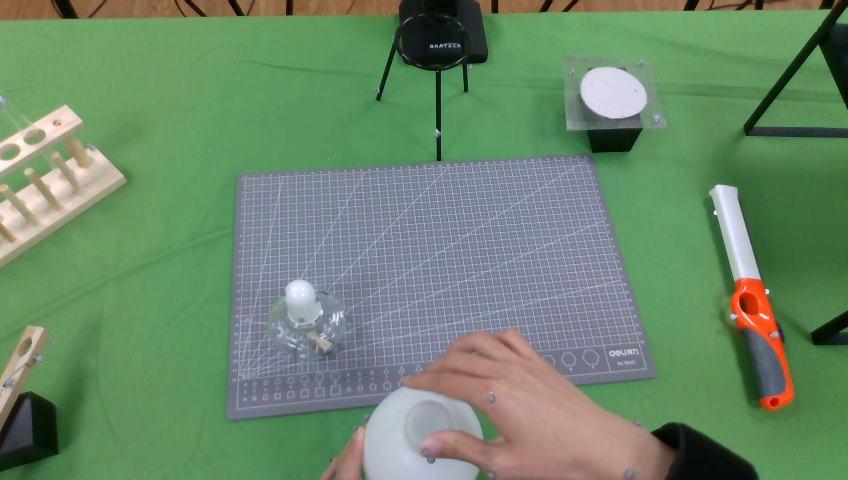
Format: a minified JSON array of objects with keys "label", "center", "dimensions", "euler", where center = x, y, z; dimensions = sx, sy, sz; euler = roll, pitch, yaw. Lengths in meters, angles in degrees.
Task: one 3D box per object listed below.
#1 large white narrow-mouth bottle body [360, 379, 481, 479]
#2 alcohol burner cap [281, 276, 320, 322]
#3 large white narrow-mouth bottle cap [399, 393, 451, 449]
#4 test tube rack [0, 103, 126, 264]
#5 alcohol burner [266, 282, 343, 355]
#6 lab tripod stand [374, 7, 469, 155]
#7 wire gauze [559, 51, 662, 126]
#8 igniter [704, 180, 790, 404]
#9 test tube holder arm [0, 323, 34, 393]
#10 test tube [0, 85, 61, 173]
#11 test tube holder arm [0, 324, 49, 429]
[{"label":"large white narrow-mouth bottle body","center":[-0.004,0.174,0.513],"dimensions":[0.102,0.196,0.101],"euler":[1,61,-2]},{"label":"alcohol burner cap","center":[-0.118,0.054,0.570],"dimensions":[0.034,0.048,0.033],"euler":[1,57,0]},{"label":"large white narrow-mouth bottle cap","center":[0.001,0.130,0.437],"dimensions":[0.038,0.024,0.037],"euler":[2,61,-3]},{"label":"test tube rack","center":[-0.463,-0.038,0.656],"dimensions":[0.066,0.086,0.242],"euler":[41,67,17]},{"label":"alcohol burner","center":[-0.120,0.071,0.602],"dimensions":[0.078,0.120,0.077],"euler":[3,60,-4]},{"label":"lab tripod stand","center":[0.006,-0.201,0.748],"dimensions":[0.148,0.132,0.147],"euler":[2,62,-4]},{"label":"wire gauze","center":[0.235,-0.194,0.775],"dimensions":[0.121,0.011,0.124],"euler":[3,61,-2]},{"label":"igniter","center":[0.369,0.051,0.698],"dimensions":[0.057,0.025,0.274],"euler":[6,61,-12]},{"label":"test tube holder arm","center":[-0.382,0.120,0.563],"dimensions":[0.010,0.015,0.087],"euler":[6,62,6]},{"label":"test tube","center":[-0.425,-0.120,0.646],"dimensions":[0.017,0.151,0.017],"euler":[0,60,0]},{"label":"test tube holder arm","center":[-0.383,0.159,0.541],"dimensions":[0.013,0.015,0.177],"euler":[7,62,7]}]
